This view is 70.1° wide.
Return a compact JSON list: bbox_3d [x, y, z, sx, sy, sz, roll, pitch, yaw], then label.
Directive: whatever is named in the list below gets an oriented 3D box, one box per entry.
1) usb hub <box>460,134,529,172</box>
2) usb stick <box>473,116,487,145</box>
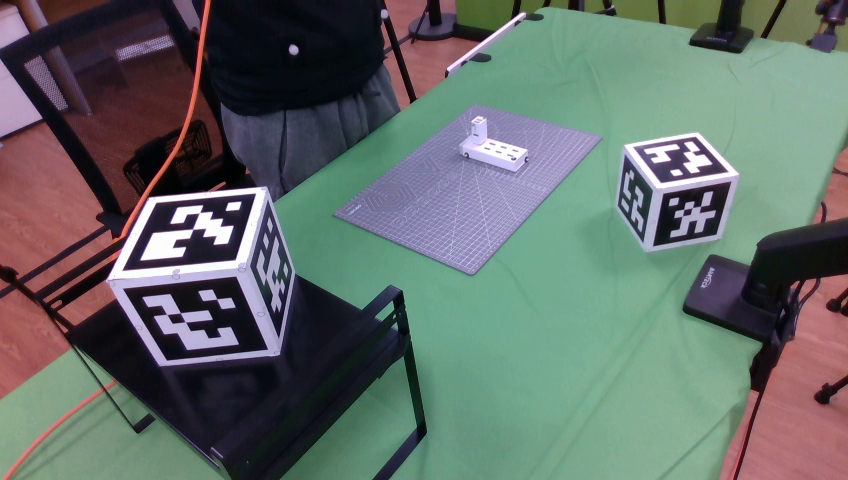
[{"bbox_3d":[0.132,-0.165,1.138,0.124,0.025,0.049,22,49,30],"label":"usb hub"},{"bbox_3d":[0.105,-0.208,1.127,0.021,0.059,0.027,7,46,4],"label":"usb stick"}]
